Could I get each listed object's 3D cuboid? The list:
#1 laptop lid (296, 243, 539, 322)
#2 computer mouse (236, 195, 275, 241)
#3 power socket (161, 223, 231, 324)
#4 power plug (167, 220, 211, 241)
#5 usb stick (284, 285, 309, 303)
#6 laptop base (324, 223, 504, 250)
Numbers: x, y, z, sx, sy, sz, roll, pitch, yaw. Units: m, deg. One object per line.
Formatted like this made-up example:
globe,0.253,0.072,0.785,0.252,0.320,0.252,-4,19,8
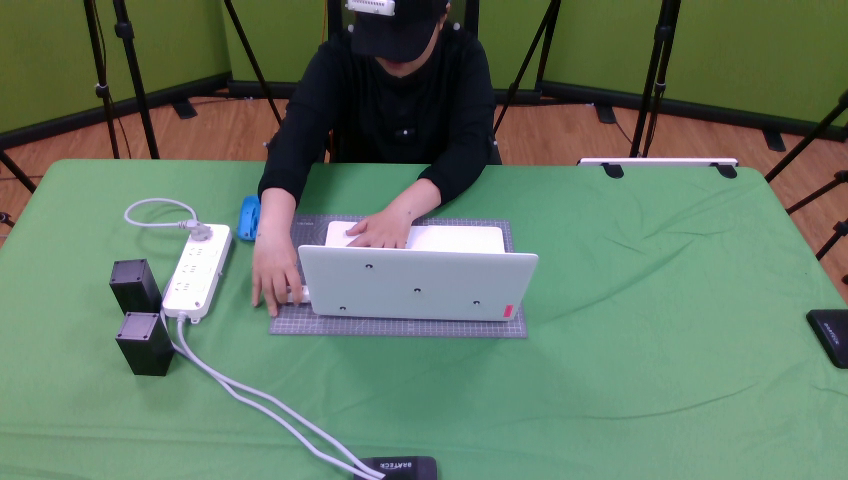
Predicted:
laptop lid,-0.013,0.075,0.962,0.357,0.243,0.013,3,58,-3
computer mouse,-0.335,-0.047,1.207,0.063,0.041,0.116,2,49,-3
power socket,-0.412,0.052,1.107,0.072,0.033,0.225,4,46,-2
power plug,-0.439,-0.017,1.143,0.072,0.053,0.035,10,43,6
usb stick,-0.215,0.096,1.072,0.059,0.027,0.021,4,44,0
laptop base,-0.019,0.055,1.144,0.354,0.023,0.234,2,41,-2
